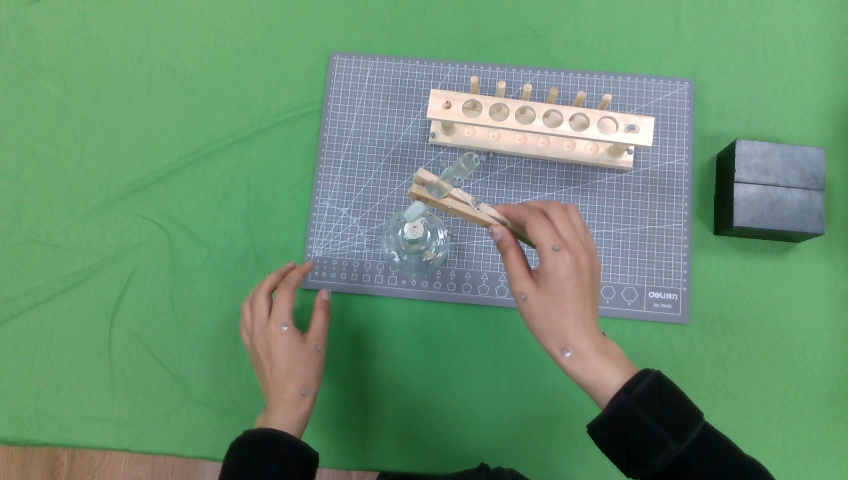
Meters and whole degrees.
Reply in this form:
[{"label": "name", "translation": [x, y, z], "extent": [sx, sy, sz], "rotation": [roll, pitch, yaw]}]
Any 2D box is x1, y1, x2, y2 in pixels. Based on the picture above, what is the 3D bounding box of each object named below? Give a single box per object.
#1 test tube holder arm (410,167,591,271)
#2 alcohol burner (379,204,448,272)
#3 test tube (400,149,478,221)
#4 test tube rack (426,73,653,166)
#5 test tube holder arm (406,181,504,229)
[{"label": "test tube holder arm", "translation": [0.069, -0.016, 0.522], "extent": [0.179, 0.015, 0.013], "rotation": [26, 75, -13]}, {"label": "alcohol burner", "translation": [-0.012, -0.005, 0.658], "extent": [0.078, 0.119, 0.077], "rotation": [0, 79, 0]}, {"label": "test tube", "translation": [0.008, -0.042, 0.505], "extent": [0.017, 0.150, 0.017], "rotation": [5, 75, -19]}, {"label": "test tube rack", "translation": [0.127, -0.143, 0.693], "extent": [0.242, 0.085, 0.066], "rotation": [8, 81, 3]}, {"label": "test tube holder arm", "translation": [0.027, -0.029, 0.510], "extent": [0.088, 0.015, 0.010], "rotation": [20, 76, -14]}]
